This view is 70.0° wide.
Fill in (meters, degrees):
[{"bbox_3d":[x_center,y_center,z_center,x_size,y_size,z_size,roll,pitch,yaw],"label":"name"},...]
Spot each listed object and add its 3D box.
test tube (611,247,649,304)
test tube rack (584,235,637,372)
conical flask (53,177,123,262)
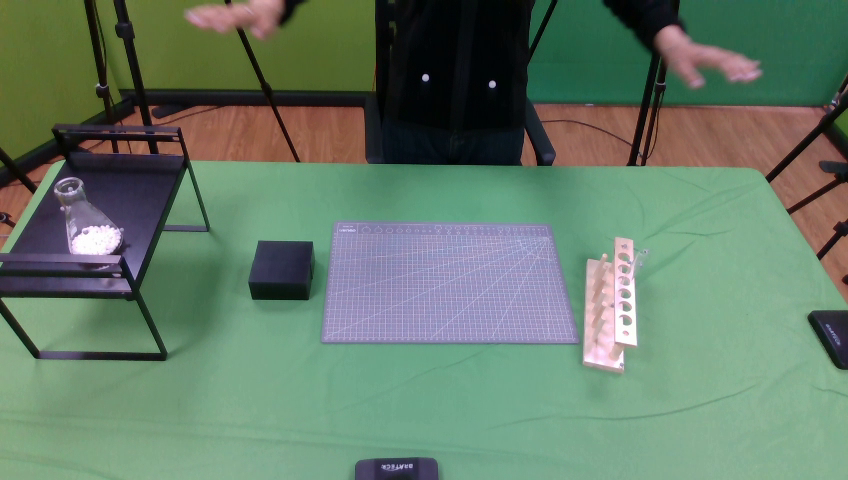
[{"bbox_3d":[0.352,0.065,1.043,0.017,0.151,0.017,3,49,-4],"label":"test tube"},{"bbox_3d":[0.329,0.103,1.073,0.067,0.085,0.241,11,47,7],"label":"test tube rack"},{"bbox_3d":[-0.490,-0.033,0.872,0.075,0.122,0.075,1,46,-1],"label":"conical flask"}]
